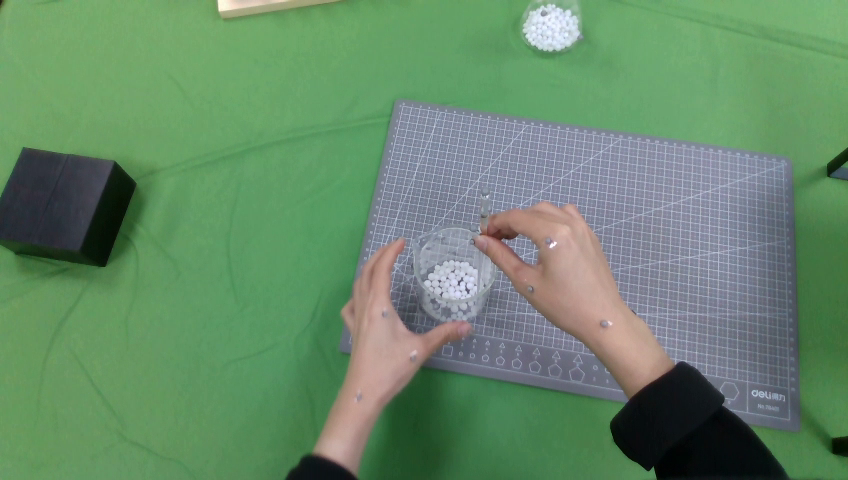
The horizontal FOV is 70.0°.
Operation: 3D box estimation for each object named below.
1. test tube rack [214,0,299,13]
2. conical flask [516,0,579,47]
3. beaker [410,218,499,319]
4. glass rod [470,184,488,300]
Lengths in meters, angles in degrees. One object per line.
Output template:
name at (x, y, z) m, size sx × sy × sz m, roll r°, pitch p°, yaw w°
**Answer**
test tube rack at (-0.140, -0.344, 0.720) m, size 0.242 × 0.086 × 0.066 m, roll -11°, pitch 70°, yaw -4°
conical flask at (0.147, -0.283, 0.680) m, size 0.075 × 0.122 × 0.075 m, roll 0°, pitch 69°, yaw 0°
beaker at (0.025, 0.030, 0.576) m, size 0.083 × 0.101 × 0.074 m, roll 29°, pitch 72°, yaw 11°
glass rod at (0.046, 0.009, 0.517) m, size 0.008 × 0.201 × 0.008 m, roll -1°, pitch 62°, yaw 2°
